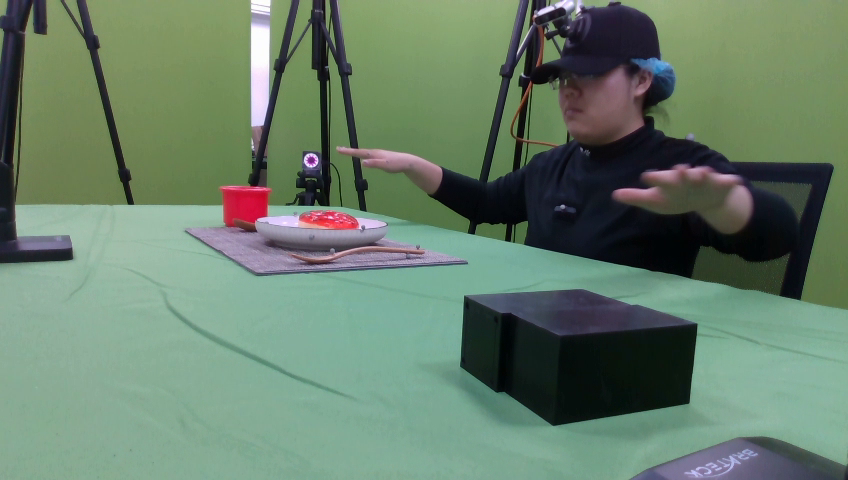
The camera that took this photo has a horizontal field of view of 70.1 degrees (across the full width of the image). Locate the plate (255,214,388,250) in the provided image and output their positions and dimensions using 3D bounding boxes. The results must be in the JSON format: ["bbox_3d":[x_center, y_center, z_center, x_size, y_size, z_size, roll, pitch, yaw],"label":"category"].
[{"bbox_3d":[-0.161,-0.013,0.961,0.209,0.038,0.209,2,7,0],"label":"plate"}]

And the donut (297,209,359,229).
[{"bbox_3d":[-0.151,-0.023,0.955,0.099,0.048,0.099,6,7,0],"label":"donut"}]

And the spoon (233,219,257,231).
[{"bbox_3d":[-0.250,-0.028,1.108,0.195,0.021,0.041,-2,-9,-29],"label":"spoon"}]

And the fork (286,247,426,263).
[{"bbox_3d":[-0.085,0.019,0.813,0.208,0.018,0.028,-4,3,-34],"label":"fork"}]
